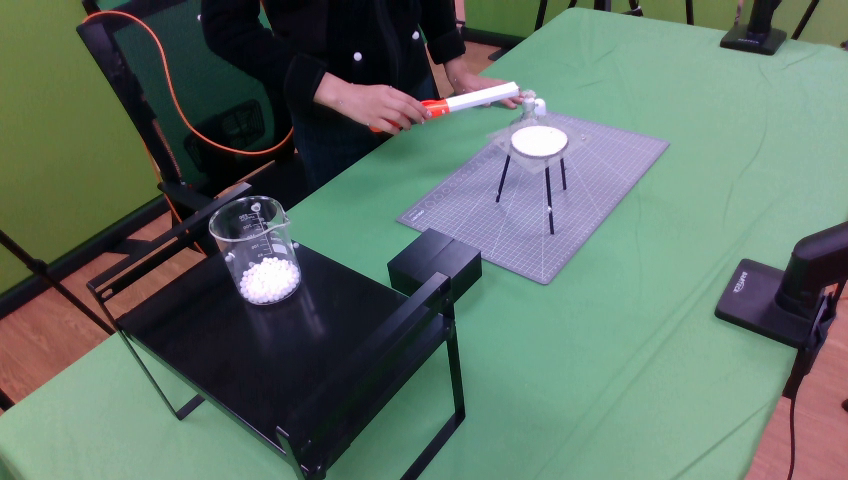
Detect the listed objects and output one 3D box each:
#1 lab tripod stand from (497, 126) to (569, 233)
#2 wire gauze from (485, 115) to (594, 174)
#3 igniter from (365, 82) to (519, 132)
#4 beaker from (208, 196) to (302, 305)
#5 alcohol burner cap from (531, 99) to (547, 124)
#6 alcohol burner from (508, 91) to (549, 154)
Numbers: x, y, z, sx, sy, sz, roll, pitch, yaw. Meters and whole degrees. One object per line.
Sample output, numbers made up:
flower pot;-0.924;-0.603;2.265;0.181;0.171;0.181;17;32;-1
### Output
lab tripod stand;0.188;-0.104;0.978;0.148;0.132;0.147;-3;41;3
wire gauze;0.177;-0.154;0.935;0.122;0.011;0.124;-26;45;-21
igniter;0.031;-0.237;1.076;0.277;0.025;0.057;-14;41;-2
beaker;-0.173;0.014;0.647;0.084;0.101;0.073;-1;41;8
alcohol burner cap;0.234;-0.264;1.231;0.034;0.048;0.033;-5;41;5
alcohol burner;0.196;-0.223;1.134;0.078;0.119;0.077;-6;39;5
